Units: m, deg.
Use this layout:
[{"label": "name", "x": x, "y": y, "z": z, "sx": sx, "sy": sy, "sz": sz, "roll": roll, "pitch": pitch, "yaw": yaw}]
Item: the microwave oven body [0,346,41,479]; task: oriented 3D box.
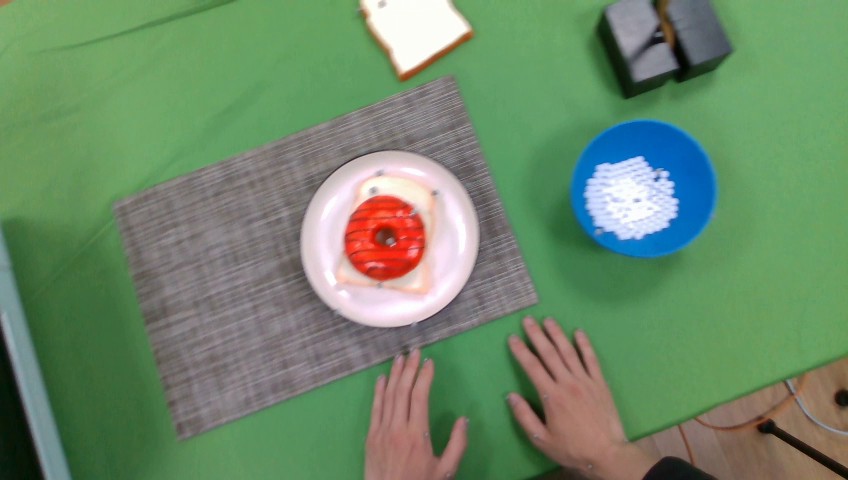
[{"label": "microwave oven body", "x": -0.608, "y": 0.207, "z": 0.603, "sx": 0.326, "sy": 0.261, "sz": 0.440, "roll": -23, "pitch": 82, "yaw": 0}]

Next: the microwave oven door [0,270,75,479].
[{"label": "microwave oven door", "x": -0.457, "y": 0.188, "z": 0.591, "sx": 0.039, "sy": 0.244, "sz": 0.354, "roll": -23, "pitch": 81, "yaw": 1}]

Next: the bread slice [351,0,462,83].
[{"label": "bread slice", "x": -0.031, "y": -0.276, "z": 0.757, "sx": 0.105, "sy": 0.019, "sz": 0.131, "roll": -35, "pitch": 83, "yaw": -2}]

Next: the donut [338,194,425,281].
[{"label": "donut", "x": -0.047, "y": -0.003, "z": 0.679, "sx": 0.099, "sy": 0.048, "sz": 0.098, "roll": -1, "pitch": 83, "yaw": 5}]

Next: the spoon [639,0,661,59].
[{"label": "spoon", "x": 0.244, "y": -0.243, "z": 0.645, "sx": 0.021, "sy": 0.195, "sz": 0.041, "roll": -21, "pitch": 79, "yaw": 15}]

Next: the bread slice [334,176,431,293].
[{"label": "bread slice", "x": -0.046, "y": -0.008, "z": 0.708, "sx": 0.107, "sy": 0.018, "sz": 0.134, "roll": 4, "pitch": 83, "yaw": 4}]

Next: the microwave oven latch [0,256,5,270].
[{"label": "microwave oven latch", "x": -0.532, "y": 0.003, "z": 0.723, "sx": 0.030, "sy": 0.029, "sz": 0.079, "roll": -22, "pitch": 82, "yaw": 0}]

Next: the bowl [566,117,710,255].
[{"label": "bowl", "x": 0.230, "y": -0.053, "z": 0.679, "sx": 0.151, "sy": 0.077, "sz": 0.151, "roll": -1, "pitch": 82, "yaw": 4}]

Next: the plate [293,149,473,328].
[{"label": "plate", "x": -0.046, "y": 0.000, "z": 0.707, "sx": 0.207, "sy": 0.039, "sz": 0.207, "roll": 0, "pitch": 82, "yaw": 3}]
